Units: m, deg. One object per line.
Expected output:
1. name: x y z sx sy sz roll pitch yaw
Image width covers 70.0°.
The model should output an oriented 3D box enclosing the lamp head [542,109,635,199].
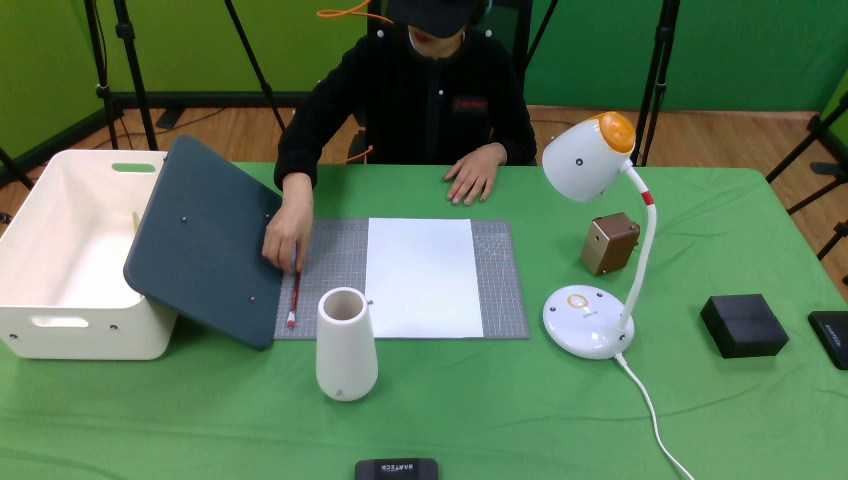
1. lamp head: 0.253 -0.131 0.893 0.113 0.123 0.112 10 66 -24

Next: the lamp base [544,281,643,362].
1. lamp base: 0.303 0.095 1.014 0.161 0.181 0.178 -24 54 -24

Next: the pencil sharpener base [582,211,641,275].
1. pencil sharpener base: 0.357 0.005 1.155 0.077 0.107 0.061 -15 48 -18

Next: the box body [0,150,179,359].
1. box body: -0.541 0.020 1.041 0.254 0.161 0.361 1 46 -3

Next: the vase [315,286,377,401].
1. vase: -0.119 0.159 0.911 0.098 0.201 0.097 2 47 -2

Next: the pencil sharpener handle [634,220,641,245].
1. pencil sharpener handle: 0.405 -0.015 1.161 0.031 0.068 0.035 -15 44 -18

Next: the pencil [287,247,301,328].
1. pencil: -0.236 0.081 1.107 0.012 0.012 0.193 0 45 -4

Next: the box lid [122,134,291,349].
1. box lid: -0.355 -0.008 1.060 0.015 0.265 0.369 -33 39 27

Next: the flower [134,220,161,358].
1. flower: -0.508 0.071 1.092 0.044 0.038 0.359 -41 45 9
